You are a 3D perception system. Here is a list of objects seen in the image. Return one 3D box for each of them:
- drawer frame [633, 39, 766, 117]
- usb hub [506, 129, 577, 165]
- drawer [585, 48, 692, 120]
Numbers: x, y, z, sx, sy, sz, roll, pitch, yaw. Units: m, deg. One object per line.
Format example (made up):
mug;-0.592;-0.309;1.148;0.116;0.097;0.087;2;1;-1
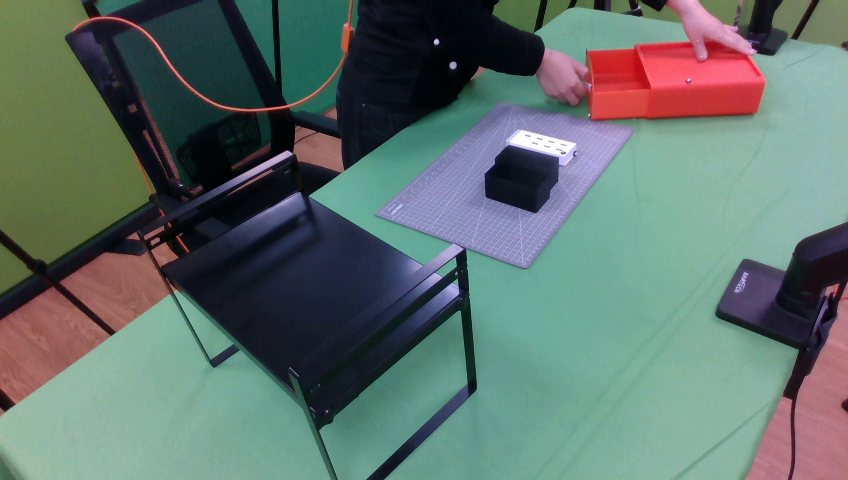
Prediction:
drawer frame;0.544;-0.332;1.233;0.213;0.083;0.201;-1;41;6
usb hub;0.221;-0.177;1.142;0.124;0.025;0.049;21;48;30
drawer;0.442;-0.329;1.248;0.211;0.073;0.194;1;41;9
